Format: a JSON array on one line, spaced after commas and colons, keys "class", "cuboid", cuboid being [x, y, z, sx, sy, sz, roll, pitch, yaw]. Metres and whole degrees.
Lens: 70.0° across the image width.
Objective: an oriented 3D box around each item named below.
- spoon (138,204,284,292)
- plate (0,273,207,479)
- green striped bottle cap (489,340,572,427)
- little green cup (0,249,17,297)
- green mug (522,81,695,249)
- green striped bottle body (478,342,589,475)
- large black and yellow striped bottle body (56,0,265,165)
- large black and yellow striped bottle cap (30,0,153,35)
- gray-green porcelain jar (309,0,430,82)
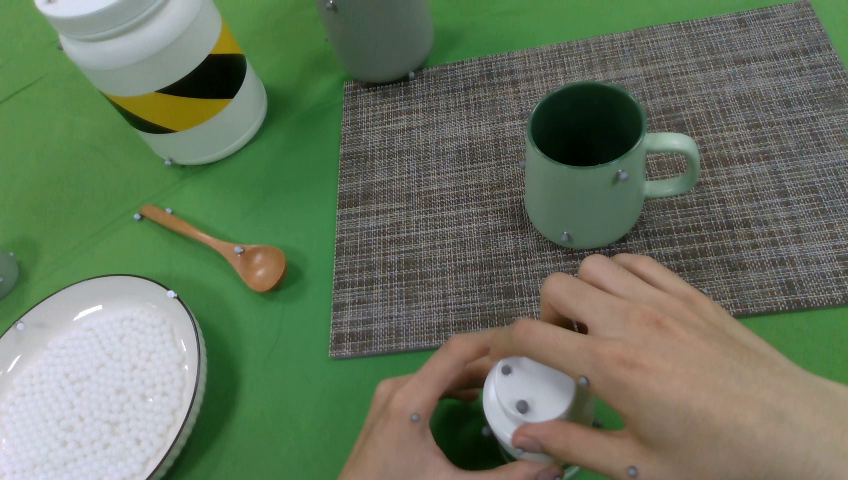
[{"class": "spoon", "cuboid": [-0.198, -0.002, 0.548, 0.192, 0.022, 0.041, 23, 87, 23]}, {"class": "plate", "cuboid": [-0.266, 0.126, 0.481, 0.209, 0.038, 0.207, -5, 59, 9]}, {"class": "green striped bottle cap", "cuboid": [0.057, 0.077, 0.325, 0.044, 0.020, 0.044, -2, 59, 4]}, {"class": "little green cup", "cuboid": [-0.422, 0.030, 0.571, 0.061, 0.039, 0.061, -5, 59, 9]}, {"class": "green mug", "cuboid": [0.134, -0.054, 0.451, 0.125, 0.106, 0.092, 0, 60, 13]}, {"class": "green striped bottle body", "cuboid": [0.069, 0.103, 0.370, 0.063, 0.120, 0.062, -6, 60, 11]}, {"class": "large black and yellow striped bottle body", "cuboid": [-0.244, -0.172, 0.562, 0.130, 0.186, 0.129, -5, 60, 10]}, {"class": "large black and yellow striped bottle cap", "cuboid": [-0.262, -0.212, 0.491, 0.115, 0.019, 0.114, -5, 58, 9]}, {"class": "gray-green porcelain jar", "cuboid": [-0.053, -0.226, 0.582, 0.106, 0.128, 0.105, -6, 55, 9]}]
